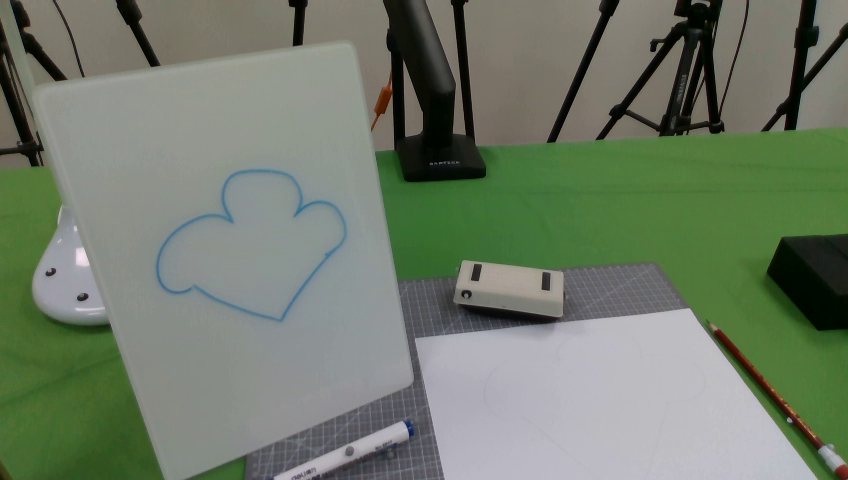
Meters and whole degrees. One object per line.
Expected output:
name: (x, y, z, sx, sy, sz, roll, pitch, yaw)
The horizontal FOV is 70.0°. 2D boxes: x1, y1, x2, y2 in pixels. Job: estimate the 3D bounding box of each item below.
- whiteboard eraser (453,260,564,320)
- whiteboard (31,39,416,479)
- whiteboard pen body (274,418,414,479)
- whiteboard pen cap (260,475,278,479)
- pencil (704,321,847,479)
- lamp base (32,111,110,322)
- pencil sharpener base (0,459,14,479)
whiteboard eraser: (0.089, 0.053, 0.635, 0.112, 0.042, 0.055, 7, 37, 7)
whiteboard: (-0.154, 0.005, 0.519, 0.218, 0.307, 0.142, -17, 20, -23)
whiteboard pen body: (-0.072, 0.173, 0.475, 0.141, 0.017, 0.017, -17, 40, -23)
whiteboard pen cap: (-0.124, 0.189, 0.452, 0.033, 0.018, 0.018, -18, 40, -24)
pencil: (0.319, 0.138, 0.561, 0.012, 0.012, 0.192, -7, 35, -12)
lamp base: (-0.344, -0.034, 0.620, 0.178, 0.182, 0.160, 20, 40, 27)
pencil sharpener base: (-0.307, 0.178, 0.390, 0.061, 0.108, 0.076, 27, 43, 30)
